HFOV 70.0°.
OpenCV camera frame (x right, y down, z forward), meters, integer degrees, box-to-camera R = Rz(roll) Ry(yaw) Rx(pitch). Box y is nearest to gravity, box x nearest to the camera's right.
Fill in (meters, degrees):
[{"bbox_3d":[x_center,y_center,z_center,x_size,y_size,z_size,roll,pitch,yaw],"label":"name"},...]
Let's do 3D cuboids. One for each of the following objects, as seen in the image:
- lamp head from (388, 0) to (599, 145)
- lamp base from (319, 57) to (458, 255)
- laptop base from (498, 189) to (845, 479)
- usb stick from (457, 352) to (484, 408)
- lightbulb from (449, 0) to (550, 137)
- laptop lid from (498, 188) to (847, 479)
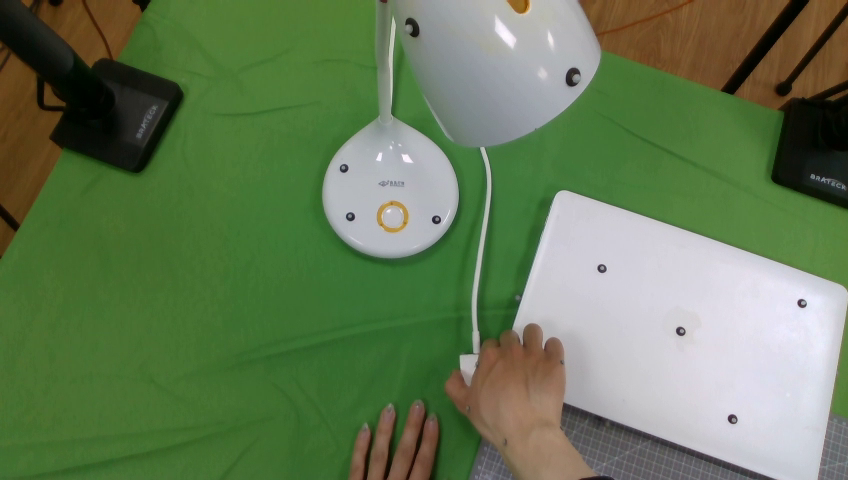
[{"bbox_3d":[0.028,-0.137,0.359,0.112,0.111,0.124,-50,124,-14],"label":"lamp head"},{"bbox_3d":[-0.041,-0.092,0.637,0.161,0.181,0.178,-10,72,-5],"label":"lamp base"},{"bbox_3d":[0.281,0.101,0.683,0.354,0.023,0.234,19,77,3],"label":"laptop base"},{"bbox_3d":[0.051,0.151,0.653,0.027,0.021,0.059,-2,82,8],"label":"usb stick"},{"bbox_3d":[0.042,-0.112,0.372,0.059,0.109,0.059,-16,41,15],"label":"lightbulb"},{"bbox_3d":[0.280,0.099,0.671,0.356,0.013,0.241,21,76,4],"label":"laptop lid"}]
